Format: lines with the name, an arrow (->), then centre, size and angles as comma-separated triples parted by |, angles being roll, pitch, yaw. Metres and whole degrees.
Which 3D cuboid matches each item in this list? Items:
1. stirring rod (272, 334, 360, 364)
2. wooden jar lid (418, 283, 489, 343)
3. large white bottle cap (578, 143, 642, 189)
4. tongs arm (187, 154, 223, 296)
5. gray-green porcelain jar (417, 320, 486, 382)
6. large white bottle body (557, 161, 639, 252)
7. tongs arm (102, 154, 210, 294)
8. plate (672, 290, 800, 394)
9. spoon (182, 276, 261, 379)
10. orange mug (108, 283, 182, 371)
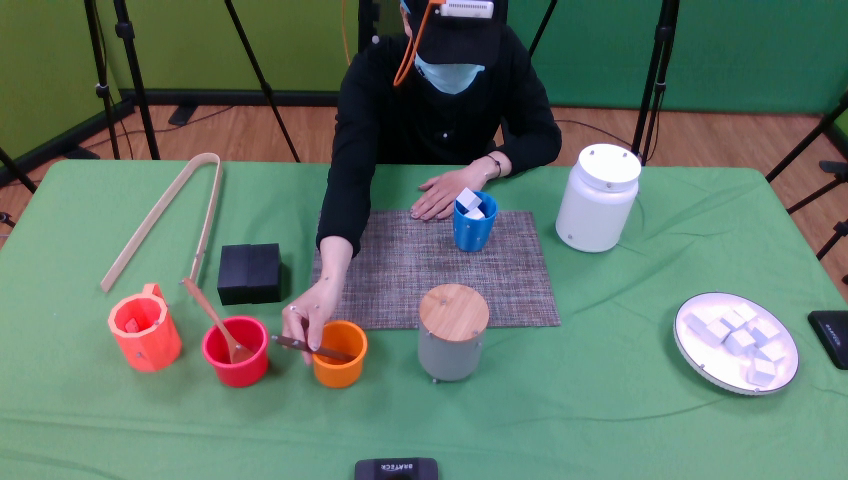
stirring rod -> -0.162, 0.170, 0.937 | 0.177, 0.006, 0.014 | 27, 33, -45
wooden jar lid -> 0.045, 0.114, 0.931 | 0.108, 0.021, 0.107 | 2, 49, -2
large white bottle cap -> 0.344, -0.139, 1.123 | 0.115, 0.018, 0.114 | 2, 46, -2
tongs arm -> -0.442, -0.044, 1.199 | 0.051, 0.027, 0.382 | -3, 46, 1
gray-green porcelain jar -> 0.042, 0.158, 0.975 | 0.106, 0.127, 0.105 | 2, 46, -2
large white bottle body -> 0.341, -0.081, 1.185 | 0.131, 0.185, 0.130 | 2, 46, -2
tongs arm -> -0.524, -0.046, 1.203 | 0.028, 0.028, 0.385 | 4, 45, 13
plate -> 0.533, 0.179, 1.050 | 0.208, 0.039, 0.206 | 2, 46, -2
spoon -> -0.320, 0.137, 0.957 | 0.041, 0.021, 0.194 | -37, 102, -33
orange mug -> -0.445, 0.134, 0.982 | 0.083, 0.101, 0.125 | -1, 50, -5
